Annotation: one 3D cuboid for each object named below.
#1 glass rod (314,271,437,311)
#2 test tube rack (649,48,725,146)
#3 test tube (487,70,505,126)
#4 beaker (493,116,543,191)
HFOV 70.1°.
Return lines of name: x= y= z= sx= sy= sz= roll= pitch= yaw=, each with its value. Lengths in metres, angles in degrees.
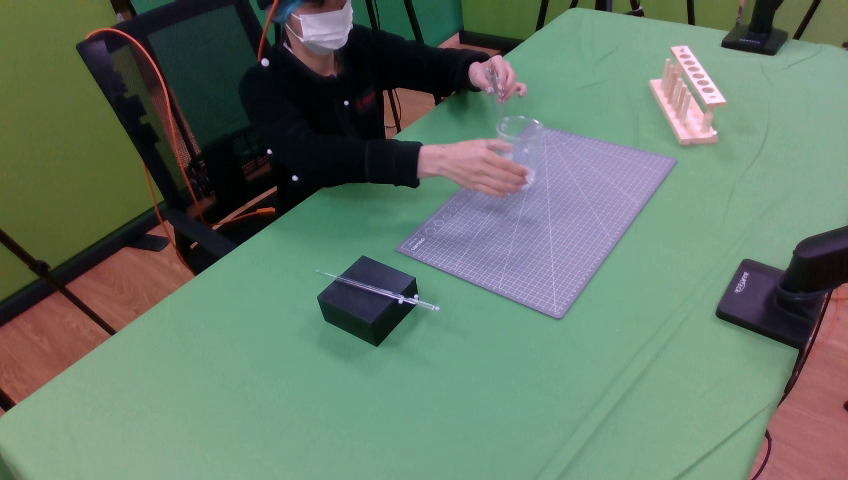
glass rod: x=-0.072 y=0.069 z=0.837 sx=0.198 sy=0.008 sz=0.008 roll=14 pitch=44 yaw=24
test tube rack: x=0.508 y=-0.285 z=1.186 sx=0.067 sy=0.085 sz=0.241 roll=-4 pitch=40 yaw=6
test tube: x=0.129 y=-0.251 z=1.081 sx=0.017 sy=0.151 sz=0.017 roll=-5 pitch=65 yaw=12
beaker: x=0.148 y=-0.136 z=0.956 sx=0.084 sy=0.100 sz=0.073 roll=-20 pitch=43 yaw=-24
